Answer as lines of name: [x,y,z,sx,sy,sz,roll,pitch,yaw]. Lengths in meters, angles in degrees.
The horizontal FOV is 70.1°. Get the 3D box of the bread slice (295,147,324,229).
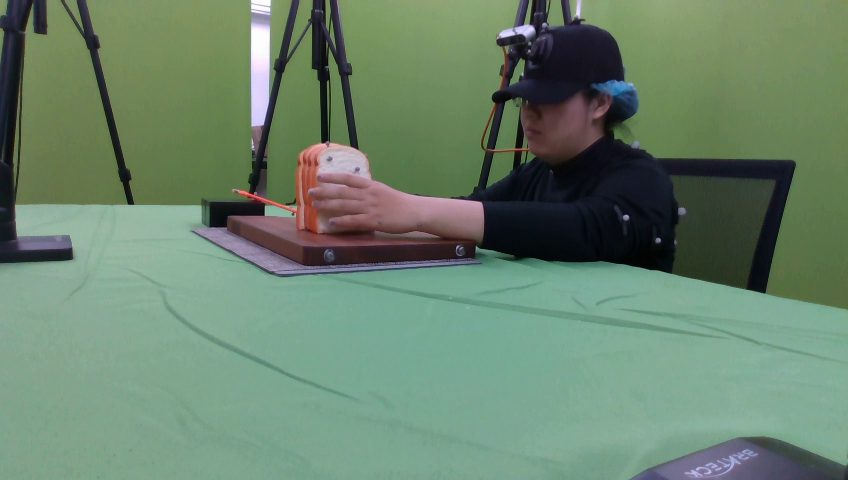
bread slice: [-0.157,-0.082,0.959,0.105,0.131,0.019,-1,-2,-43]

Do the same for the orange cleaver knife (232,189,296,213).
orange cleaver knife: [-0.279,-0.066,1.219,0.212,0.012,0.077,19,-3,-21]

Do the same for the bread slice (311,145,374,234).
bread slice: [-0.127,-0.076,0.919,0.107,0.134,0.018,-8,7,-41]
